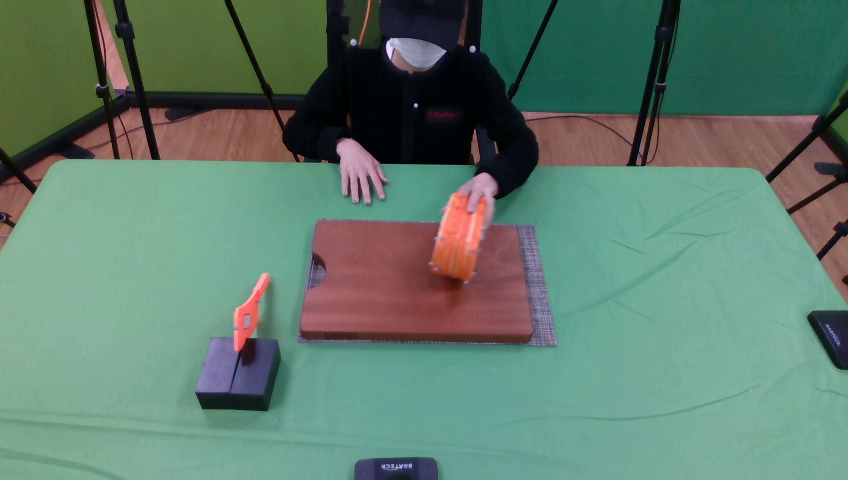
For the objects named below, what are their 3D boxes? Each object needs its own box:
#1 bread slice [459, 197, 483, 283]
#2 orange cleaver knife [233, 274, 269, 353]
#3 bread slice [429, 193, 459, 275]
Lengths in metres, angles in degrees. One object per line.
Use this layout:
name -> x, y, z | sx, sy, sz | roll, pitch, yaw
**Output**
bread slice -> 0.082, 0.007, 1.067 | 0.018, 0.107, 0.133 | 10, 53, 5
orange cleaver knife -> -0.290, 0.118, 1.020 | 0.012, 0.077, 0.210 | 2, 17, -1
bread slice -> 0.034, -0.007, 1.067 | 0.019, 0.105, 0.131 | 15, 52, 6
